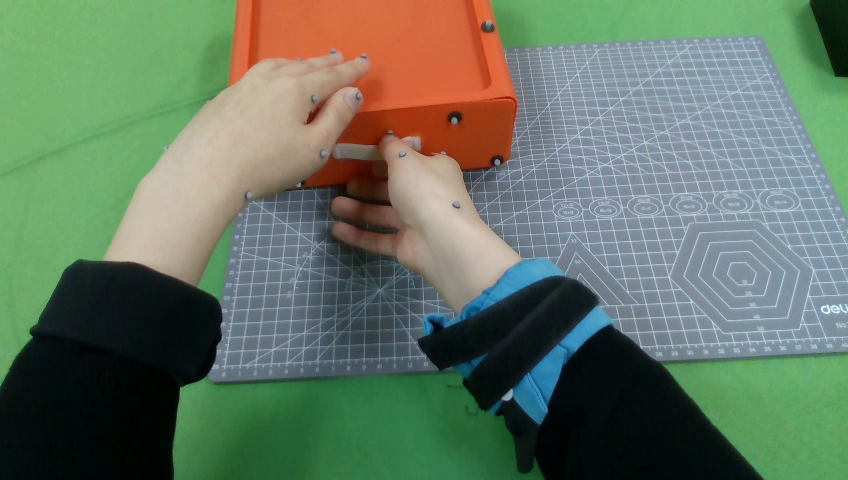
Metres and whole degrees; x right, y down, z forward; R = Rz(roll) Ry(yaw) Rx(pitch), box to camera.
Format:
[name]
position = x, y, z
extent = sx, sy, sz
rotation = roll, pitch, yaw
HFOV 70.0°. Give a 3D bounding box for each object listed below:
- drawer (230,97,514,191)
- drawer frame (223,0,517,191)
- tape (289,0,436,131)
[drawer]
position = -0.044, -0.148, 0.487
extent = 0.194, 0.074, 0.209
rotation = -7, 58, -1
[drawer frame]
position = -0.046, -0.151, 0.487
extent = 0.202, 0.083, 0.211
rotation = -7, 57, -2
[tape]
position = -0.048, -0.149, 0.495
extent = 0.117, 0.053, 0.116
rotation = -1, 59, 2
